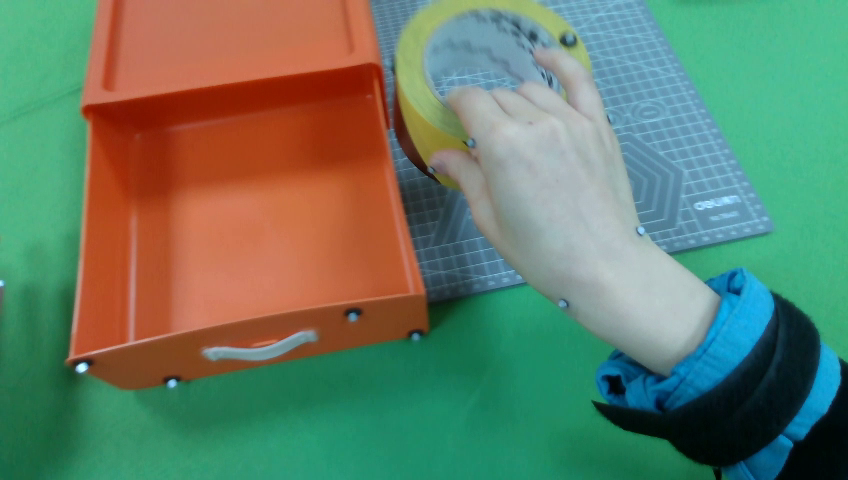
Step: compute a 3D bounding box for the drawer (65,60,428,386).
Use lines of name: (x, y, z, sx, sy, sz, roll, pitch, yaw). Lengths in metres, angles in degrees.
drawer: (-0.111, -0.026, 0.398, 0.194, 0.074, 0.209, -10, 62, -2)

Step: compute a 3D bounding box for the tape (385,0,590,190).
tape: (0.036, -0.089, 0.353, 0.117, 0.053, 0.116, 2, 68, -4)

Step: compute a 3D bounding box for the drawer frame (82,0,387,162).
drawer frame: (-0.139, -0.172, 0.474, 0.202, 0.083, 0.211, -10, 60, -3)
